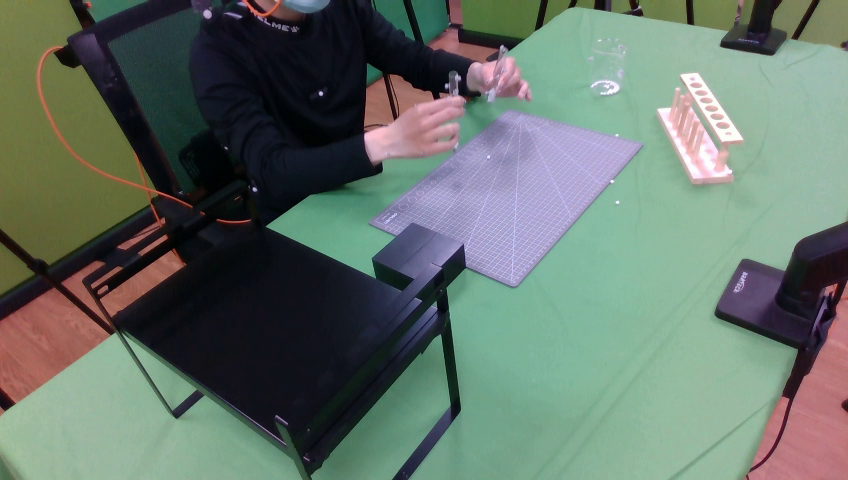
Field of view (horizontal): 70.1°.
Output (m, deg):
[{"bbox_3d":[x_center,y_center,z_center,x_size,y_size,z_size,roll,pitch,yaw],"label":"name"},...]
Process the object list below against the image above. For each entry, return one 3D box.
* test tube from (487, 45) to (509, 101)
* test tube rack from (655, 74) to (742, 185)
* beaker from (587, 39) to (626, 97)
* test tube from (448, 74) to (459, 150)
[{"bbox_3d":[0.135,-0.305,1.120,0.017,0.151,0.017,2,68,-3],"label":"test tube"},{"bbox_3d":[0.488,-0.205,1.093,0.067,0.085,0.241,-3,41,5],"label":"test tube rack"},{"bbox_3d":[0.386,-0.361,1.280,0.074,0.101,0.083,-22,43,-15],"label":"beaker"},{"bbox_3d":[0.052,-0.217,1.043,0.017,0.151,0.017,-2,46,2],"label":"test tube"}]
